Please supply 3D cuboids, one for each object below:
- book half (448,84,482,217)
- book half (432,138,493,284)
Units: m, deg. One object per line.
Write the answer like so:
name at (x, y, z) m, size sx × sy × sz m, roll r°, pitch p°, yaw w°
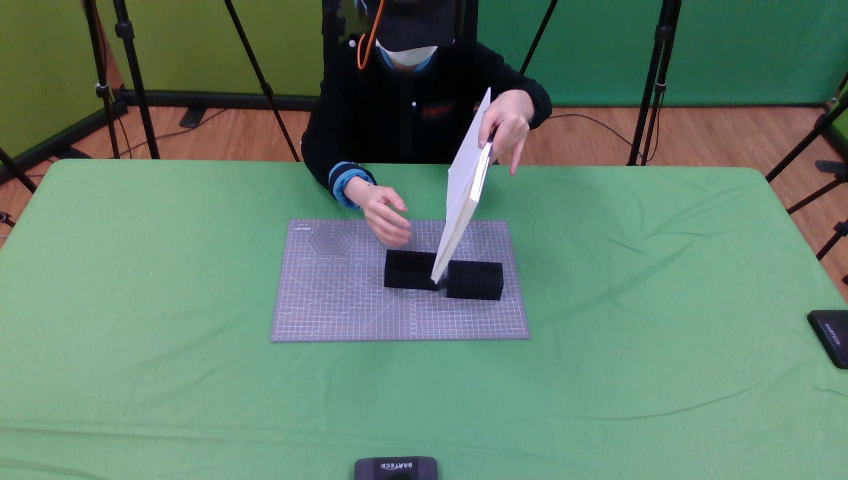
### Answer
book half at (0.069, -0.150, 1.081) m, size 0.007 × 0.211 × 0.142 m, roll 10°, pitch 49°, yaw -8°
book half at (0.059, -0.043, 0.987) m, size 0.016 × 0.211 × 0.148 m, roll 21°, pitch 48°, yaw -4°
